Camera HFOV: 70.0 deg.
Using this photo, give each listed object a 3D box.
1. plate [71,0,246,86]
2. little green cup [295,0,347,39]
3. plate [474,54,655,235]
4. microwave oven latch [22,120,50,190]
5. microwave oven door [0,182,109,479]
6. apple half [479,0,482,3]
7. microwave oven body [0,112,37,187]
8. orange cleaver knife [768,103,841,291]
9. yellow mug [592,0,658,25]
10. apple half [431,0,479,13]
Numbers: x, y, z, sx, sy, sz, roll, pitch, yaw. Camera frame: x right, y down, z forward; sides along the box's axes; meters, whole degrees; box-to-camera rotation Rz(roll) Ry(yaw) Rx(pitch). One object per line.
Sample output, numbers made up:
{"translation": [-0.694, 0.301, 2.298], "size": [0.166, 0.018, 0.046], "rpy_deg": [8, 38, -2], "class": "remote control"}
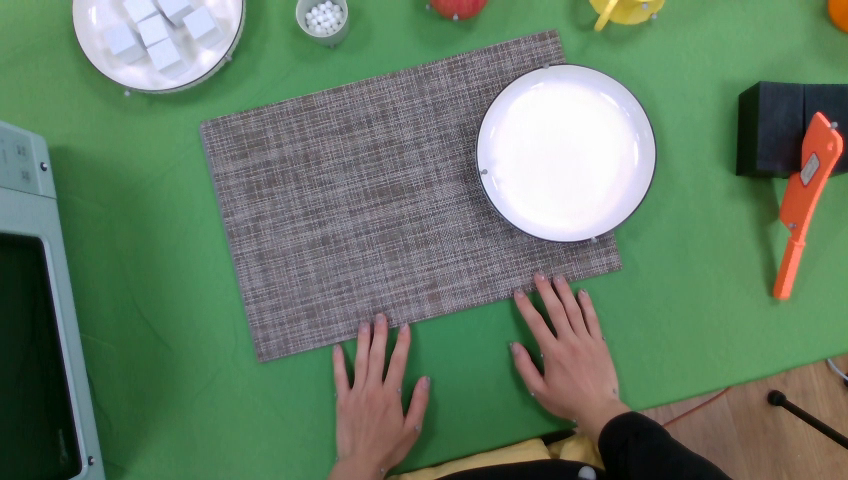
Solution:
{"translation": [-0.315, -0.285, 0.732], "size": [0.207, 0.039, 0.207], "rpy_deg": [0, 87, 1], "class": "plate"}
{"translation": [-0.121, -0.274, 0.728], "size": [0.061, 0.038, 0.061], "rpy_deg": [0, 87, 2], "class": "little green cup"}
{"translation": [0.161, -0.109, 0.710], "size": [0.209, 0.038, 0.209], "rpy_deg": [0, 87, 2], "class": "plate"}
{"translation": [-0.463, -0.098, 0.709], "size": [0.030, 0.029, 0.079], "rpy_deg": [-10, 88, 0], "class": "microwave oven latch"}
{"translation": [-0.423, 0.112, 0.598], "size": [0.039, 0.244, 0.355], "rpy_deg": [-12, 87, 1], "class": "microwave oven door"}
{"translation": [0.062, -0.319, 0.707], "size": [0.033, 0.081, 0.081], "rpy_deg": [-23, 86, 5], "class": "apple half"}
{"translation": [-0.574, 0.100, 0.607], "size": [0.326, 0.260, 0.441], "rpy_deg": [-12, 88, 0], "class": "microwave oven body"}
{"translation": [0.420, -0.044, 0.684], "size": [0.012, 0.076, 0.213], "rpy_deg": [5, 117, 5], "class": "orange cleaver knife"}
{"translation": [0.235, -0.309, 0.707], "size": [0.100, 0.064, 0.131], "rpy_deg": [33, 90, 3], "class": "yellow mug"}
{"translation": [0.027, -0.303, 0.709], "size": [0.053, 0.074, 0.081], "rpy_deg": [-23, 91, 5], "class": "apple half"}
